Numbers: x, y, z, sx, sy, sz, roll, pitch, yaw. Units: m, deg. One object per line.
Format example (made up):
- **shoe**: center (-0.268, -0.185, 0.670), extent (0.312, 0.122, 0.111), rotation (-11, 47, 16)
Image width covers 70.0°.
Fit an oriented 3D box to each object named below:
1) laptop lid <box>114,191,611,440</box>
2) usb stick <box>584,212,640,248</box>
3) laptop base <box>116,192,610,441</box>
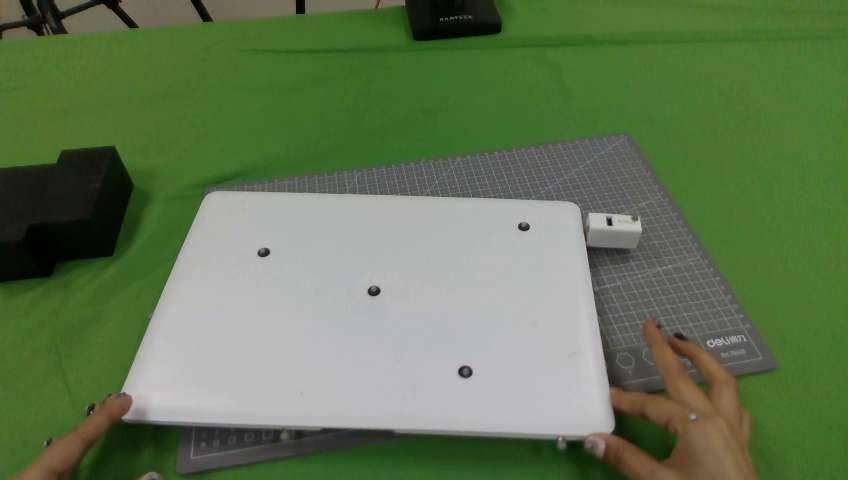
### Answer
- **laptop lid**: center (-0.040, 0.044, 0.492), extent (0.356, 0.013, 0.239), rotation (3, 48, 4)
- **usb stick**: center (0.158, -0.009, 0.537), extent (0.059, 0.027, 0.021), rotation (2, 47, 6)
- **laptop base**: center (-0.040, 0.050, 0.502), extent (0.354, 0.023, 0.233), rotation (2, 50, 3)
